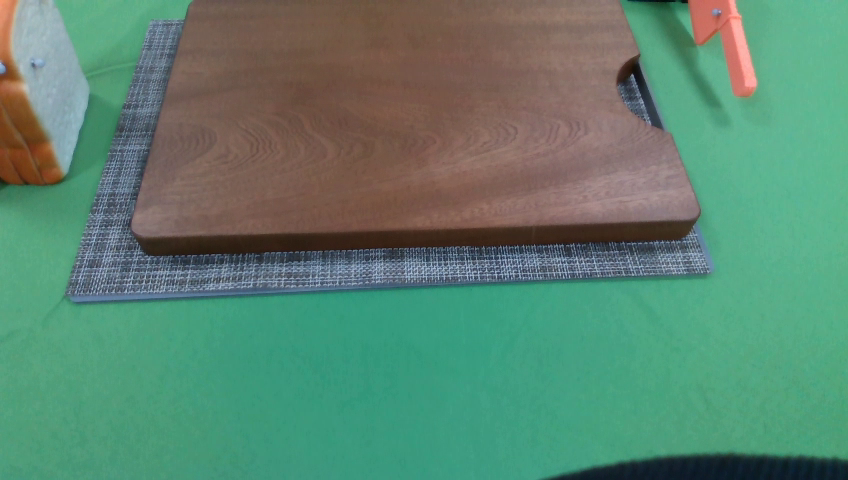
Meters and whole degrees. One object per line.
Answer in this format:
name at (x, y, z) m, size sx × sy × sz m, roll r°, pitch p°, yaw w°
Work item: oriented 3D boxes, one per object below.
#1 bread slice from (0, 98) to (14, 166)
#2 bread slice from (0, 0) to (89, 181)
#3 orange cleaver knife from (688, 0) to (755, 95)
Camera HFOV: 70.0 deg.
bread slice at (-0.331, -0.122, 0.435) m, size 0.018 × 0.135 × 0.106 m, roll -4°, pitch 50°, yaw -12°
bread slice at (-0.278, -0.123, 0.441) m, size 0.019 × 0.132 × 0.104 m, roll 0°, pitch 56°, yaw -11°
orange cleaver knife at (0.267, -0.220, 0.558) m, size 0.012 × 0.077 × 0.210 m, roll 0°, pitch 75°, yaw -6°
